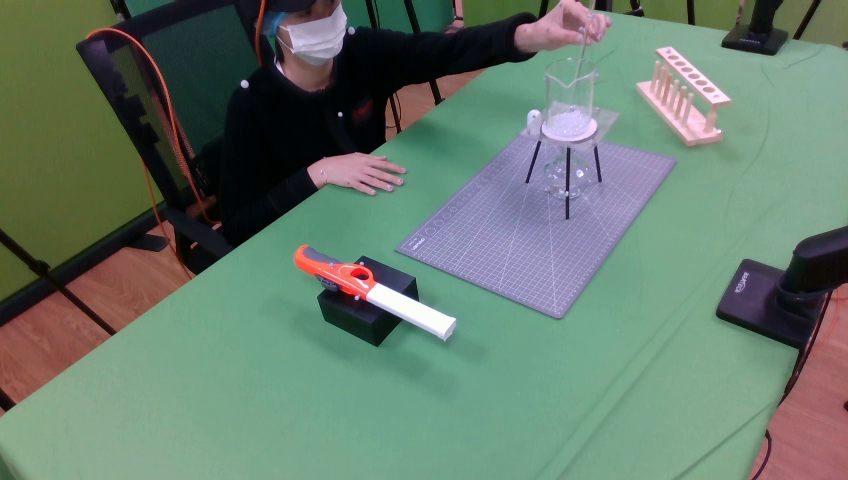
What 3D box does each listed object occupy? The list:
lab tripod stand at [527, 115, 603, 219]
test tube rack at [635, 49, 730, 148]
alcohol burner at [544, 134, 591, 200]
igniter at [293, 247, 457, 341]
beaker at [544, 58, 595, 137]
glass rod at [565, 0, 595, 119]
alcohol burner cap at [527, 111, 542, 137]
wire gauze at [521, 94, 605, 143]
[{"bbox_3d":[0.234,-0.129,1.002,0.148,0.132,0.147,-6,40,6],"label":"lab tripod stand"},{"bbox_3d":[0.497,-0.283,1.185,0.067,0.085,0.240,-10,40,-2],"label":"test tube rack"},{"bbox_3d":[0.241,-0.127,1.014,0.078,0.119,0.077,-5,42,5],"label":"alcohol burner"},{"bbox_3d":[-0.077,0.068,0.830,0.274,0.025,0.057,22,48,27],"label":"igniter"},{"bbox_3d":[0.222,-0.214,0.927,0.074,0.101,0.084,3,42,16],"label":"beaker"},{"bbox_3d":[0.231,-0.264,0.901,0.008,0.200,0.008,1,47,0],"label":"glass rod"},{"bbox_3d":[0.221,-0.233,1.200,0.034,0.048,0.033,-6,41,6],"label":"alcohol burner cap"},{"bbox_3d":[0.219,-0.190,0.949,0.121,0.011,0.125,7,46,14],"label":"wire gauze"}]
